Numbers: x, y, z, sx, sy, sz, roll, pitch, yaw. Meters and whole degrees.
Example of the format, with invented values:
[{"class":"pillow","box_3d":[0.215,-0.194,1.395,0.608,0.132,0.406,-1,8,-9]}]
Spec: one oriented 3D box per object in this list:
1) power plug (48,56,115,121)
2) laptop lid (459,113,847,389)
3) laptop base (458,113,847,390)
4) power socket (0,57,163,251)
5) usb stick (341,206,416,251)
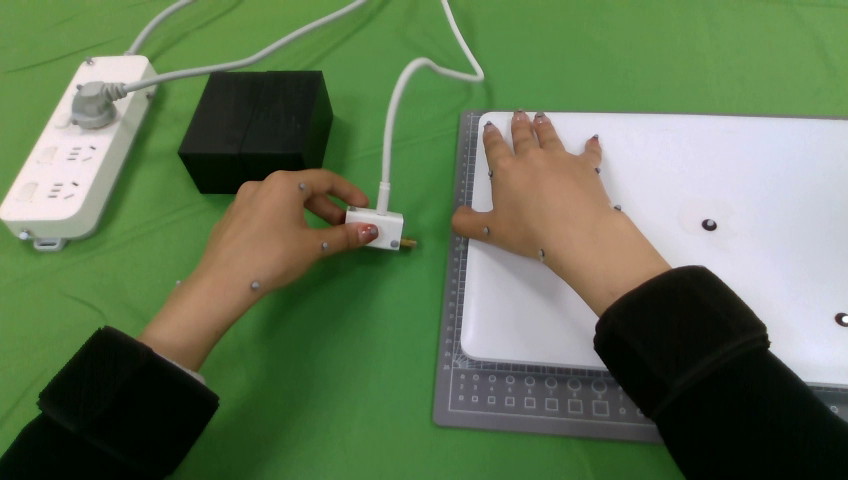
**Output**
[{"class":"power plug","box_3d":[-0.294,-0.136,0.520,0.053,0.073,0.035,12,36,-18]},{"class":"laptop lid","box_3d":[0.209,-0.007,0.447,0.356,0.013,0.239,4,57,8]},{"class":"laptop base","box_3d":[0.210,-0.002,0.458,0.354,0.023,0.233,3,58,6]},{"class":"power socket","box_3d":[-0.303,-0.090,0.551,0.072,0.033,0.224,1,54,3]},{"class":"usb stick","box_3d":[-0.033,-0.008,0.469,0.059,0.027,0.021,13,14,-9]}]
